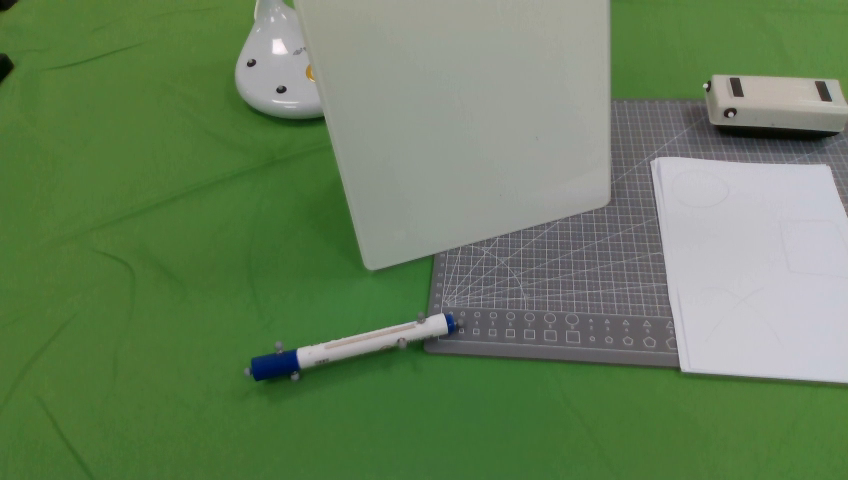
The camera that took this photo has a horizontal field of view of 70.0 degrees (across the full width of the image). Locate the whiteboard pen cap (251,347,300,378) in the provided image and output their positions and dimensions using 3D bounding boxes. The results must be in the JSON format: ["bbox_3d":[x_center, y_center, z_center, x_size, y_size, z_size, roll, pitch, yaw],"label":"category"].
[{"bbox_3d":[-0.104,0.086,0.429,0.033,0.018,0.018,-12,50,-10],"label":"whiteboard pen cap"}]

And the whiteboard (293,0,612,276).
[{"bbox_3d":[0.016,-0.160,0.479,0.217,0.308,0.142,-15,31,-6],"label":"whiteboard"}]

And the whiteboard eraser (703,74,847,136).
[{"bbox_3d":[0.318,-0.123,0.554,0.112,0.042,0.055,5,52,10],"label":"whiteboard eraser"}]

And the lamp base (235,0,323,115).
[{"bbox_3d":[-0.139,-0.245,0.606,0.160,0.182,0.177,-37,54,-23],"label":"lamp base"}]

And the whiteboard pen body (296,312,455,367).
[{"bbox_3d":[-0.046,0.074,0.437,0.141,0.017,0.017,-13,50,-7],"label":"whiteboard pen body"}]
